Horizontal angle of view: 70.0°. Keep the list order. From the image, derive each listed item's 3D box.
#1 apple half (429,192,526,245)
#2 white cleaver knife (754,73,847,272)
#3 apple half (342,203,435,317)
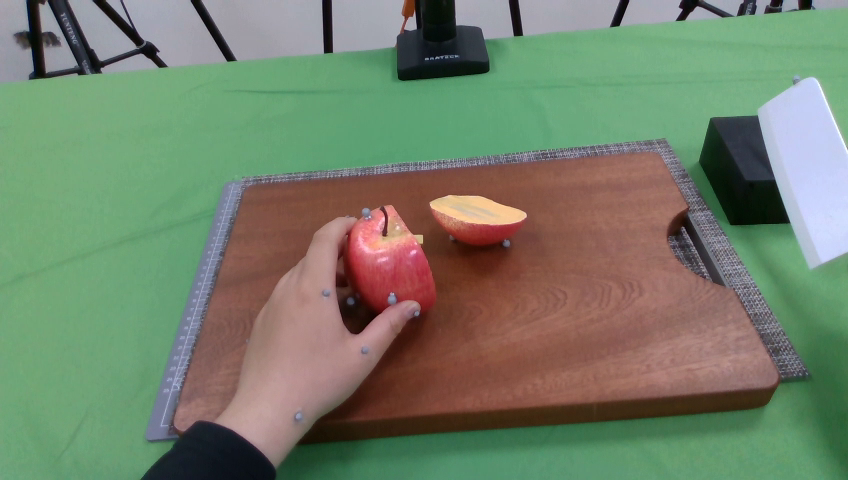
[{"bbox_3d":[0.039,-0.013,0.493,0.081,0.033,0.081,7,21,-2],"label":"apple half"},{"bbox_3d":[0.308,-0.012,0.450,0.022,0.066,0.284,16,54,-20],"label":"white cleaver knife"},{"bbox_3d":[-0.031,0.021,0.441,0.053,0.075,0.080,-24,49,-13],"label":"apple half"}]
